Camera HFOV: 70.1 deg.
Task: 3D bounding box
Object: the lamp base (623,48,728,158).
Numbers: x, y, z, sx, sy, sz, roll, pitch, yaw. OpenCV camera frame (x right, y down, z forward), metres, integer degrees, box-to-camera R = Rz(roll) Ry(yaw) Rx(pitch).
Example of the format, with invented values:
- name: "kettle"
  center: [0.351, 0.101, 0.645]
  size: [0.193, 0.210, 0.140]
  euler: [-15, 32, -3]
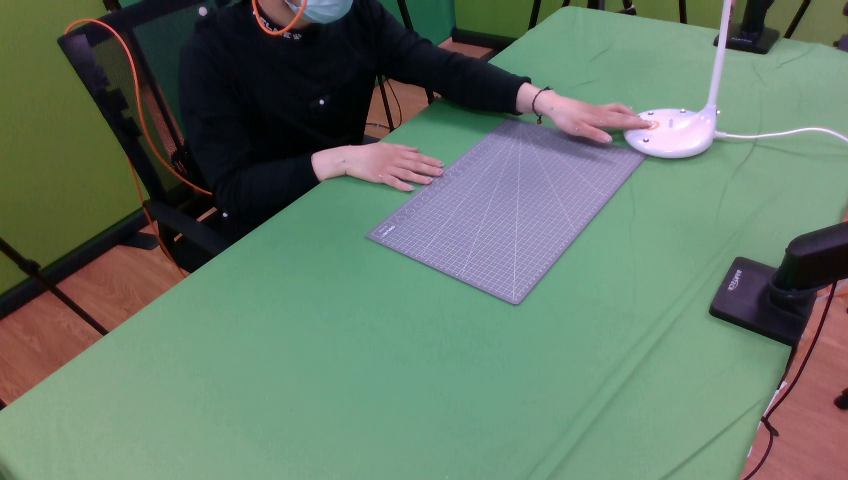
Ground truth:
- name: "lamp base"
  center: [0.462, -0.261, 1.084]
  size: [0.179, 0.181, 0.160]
  euler: [3, 41, 7]
